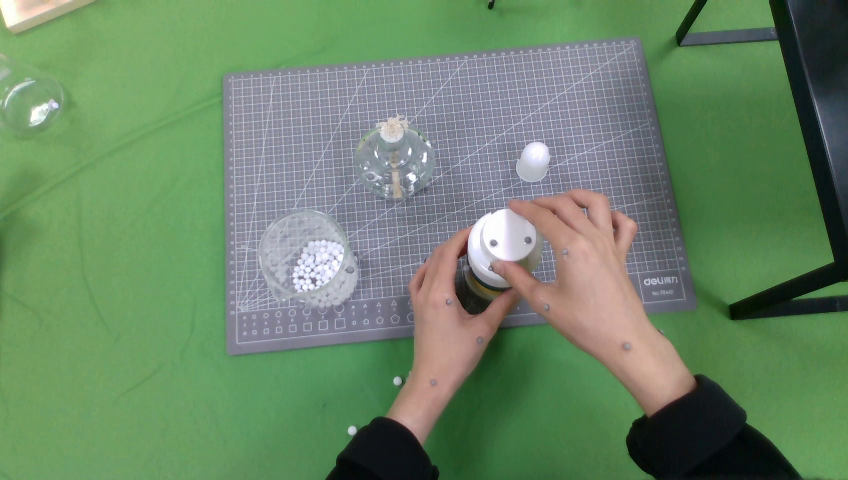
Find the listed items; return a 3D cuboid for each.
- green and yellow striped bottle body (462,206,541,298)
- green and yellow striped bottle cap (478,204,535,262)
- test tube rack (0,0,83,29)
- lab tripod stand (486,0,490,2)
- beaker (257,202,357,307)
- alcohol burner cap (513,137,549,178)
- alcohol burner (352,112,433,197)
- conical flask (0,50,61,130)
[{"bbox_3d":[0.067,0.010,0.535,0.063,0.120,0.063,0,74,1],"label":"green and yellow striped bottle body"},{"bbox_3d":[0.065,-0.006,0.480,0.045,0.020,0.045,1,79,-3],"label":"green and yellow striped bottle cap"},{"bbox_3d":[-0.362,-0.323,0.647,0.242,0.085,0.066,-26,76,-6],"label":"test tube rack"},{"bbox_3d":[0.127,-0.324,0.619,0.148,0.132,0.147,0,74,-1],"label":"lab tripod stand"},{"bbox_3d":[-0.101,0.021,0.545,0.074,0.101,0.083,24,77,8],"label":"beaker"},{"bbox_3d":[0.107,-0.084,0.600,0.034,0.048,0.033,0,75,0],"label":"alcohol burner cap"},{"bbox_3d":[-0.030,-0.085,0.565,0.078,0.119,0.077,0,73,-1],"label":"alcohol burner"},{"bbox_3d":[-0.421,-0.164,0.586,0.075,0.122,0.075,0,74,1],"label":"conical flask"}]
